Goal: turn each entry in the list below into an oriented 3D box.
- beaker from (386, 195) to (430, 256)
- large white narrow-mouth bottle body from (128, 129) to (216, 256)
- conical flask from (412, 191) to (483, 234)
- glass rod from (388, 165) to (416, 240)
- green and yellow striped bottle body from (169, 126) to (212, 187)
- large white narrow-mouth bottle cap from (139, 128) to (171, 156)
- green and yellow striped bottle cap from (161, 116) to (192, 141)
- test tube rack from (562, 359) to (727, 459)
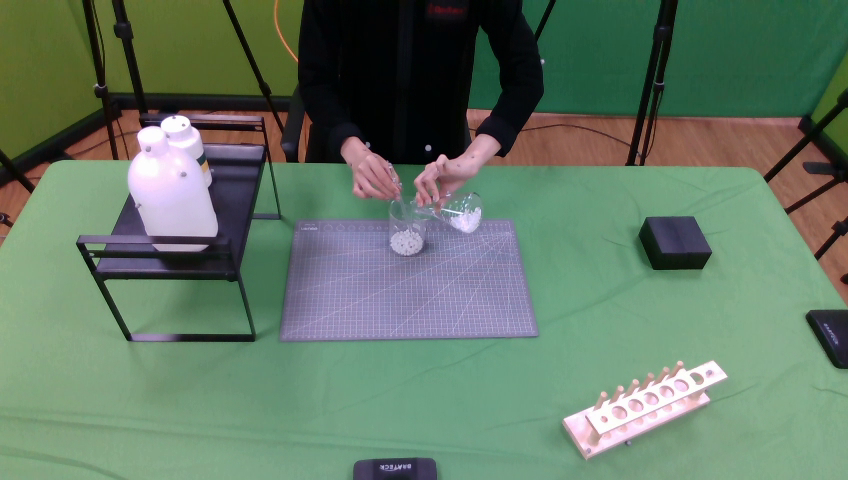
[{"bbox_3d":[-0.031,-0.024,1.161,0.084,0.101,0.073,18,48,12],"label":"beaker"},{"bbox_3d":[-0.366,-0.073,0.872,0.102,0.195,0.101,3,47,-3],"label":"large white narrow-mouth bottle body"},{"bbox_3d":[0.037,-0.057,1.074,0.121,0.076,0.075,13,44,31],"label":"conical flask"},{"bbox_3d":[-0.039,-0.064,1.123,0.008,0.201,0.008,-8,48,9],"label":"glass rod"},{"bbox_3d":[-0.389,-0.139,0.984,0.063,0.120,0.063,2,46,-2],"label":"green and yellow striped bottle body"},{"bbox_3d":[-0.359,-0.131,0.808,0.038,0.024,0.037,3,47,-3],"label":"large white narrow-mouth bottle cap"},{"bbox_3d":[-0.387,-0.174,0.946,0.045,0.020,0.045,3,44,-3],"label":"green and yellow striped bottle cap"},{"bbox_3d":[0.341,0.247,0.940,0.243,0.085,0.066,-16,49,-19],"label":"test tube rack"}]
